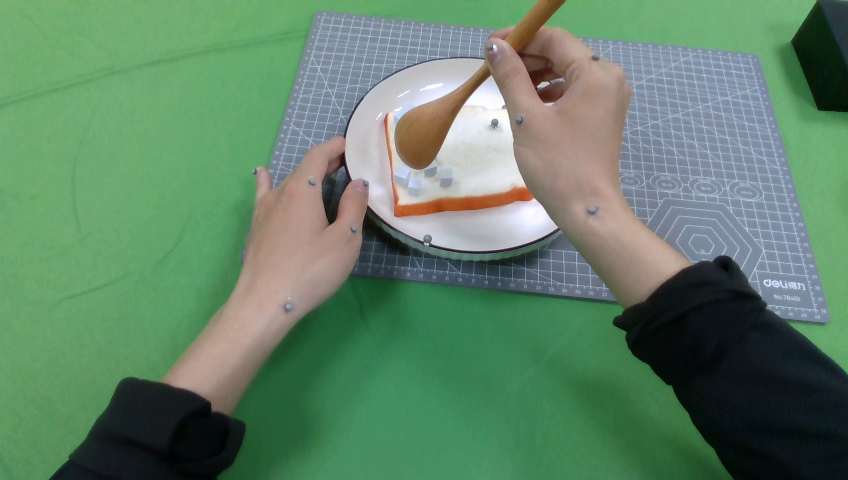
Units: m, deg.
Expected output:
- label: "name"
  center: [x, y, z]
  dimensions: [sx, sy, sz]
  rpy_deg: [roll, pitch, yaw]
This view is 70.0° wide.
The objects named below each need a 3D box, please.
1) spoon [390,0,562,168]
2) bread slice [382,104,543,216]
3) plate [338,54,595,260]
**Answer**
- label: "spoon"
  center: [0.035, -0.110, 0.393]
  dimensions: [0.022, 0.194, 0.041]
  rpy_deg: [-22, 76, -52]
- label: "bread slice"
  center: [0.032, -0.073, 0.506]
  dimensions: [0.132, 0.019, 0.104]
  rpy_deg: [-8, 59, -6]
- label: "plate"
  center: [0.034, -0.069, 0.501]
  dimensions: [0.209, 0.038, 0.207]
  rpy_deg: [2, 58, -2]
